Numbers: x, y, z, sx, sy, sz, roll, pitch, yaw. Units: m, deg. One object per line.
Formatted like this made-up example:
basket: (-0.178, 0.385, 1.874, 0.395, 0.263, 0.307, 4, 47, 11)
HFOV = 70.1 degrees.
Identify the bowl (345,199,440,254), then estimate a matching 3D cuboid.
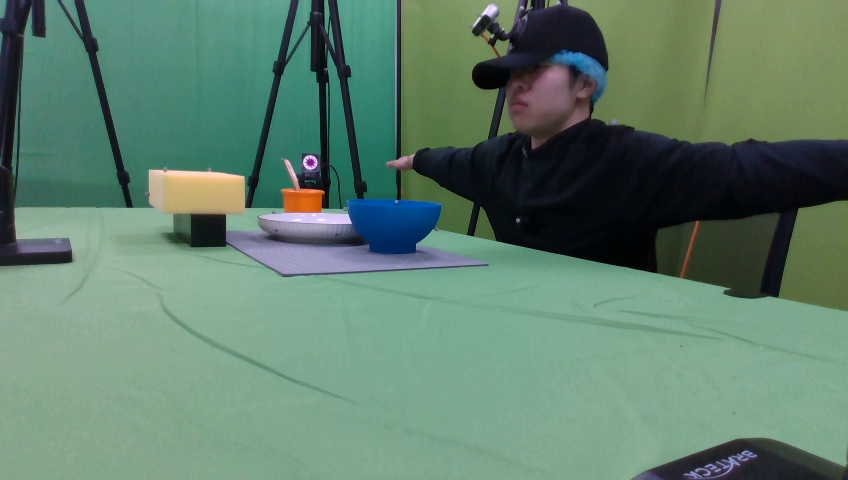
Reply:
bowl: (-0.050, -0.022, 0.952, 0.151, 0.077, 0.151, 2, 7, 0)

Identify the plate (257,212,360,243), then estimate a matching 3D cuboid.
plate: (-0.189, -0.023, 1.072, 0.209, 0.038, 0.209, 3, 7, 0)

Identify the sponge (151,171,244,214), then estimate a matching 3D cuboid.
sponge: (-0.383, -0.081, 1.010, 0.119, 0.061, 0.206, -1, 8, -30)

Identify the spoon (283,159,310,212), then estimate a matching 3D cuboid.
spoon: (-0.279, -0.111, 1.324, 0.042, 0.193, 0.021, 2, -39, -35)
